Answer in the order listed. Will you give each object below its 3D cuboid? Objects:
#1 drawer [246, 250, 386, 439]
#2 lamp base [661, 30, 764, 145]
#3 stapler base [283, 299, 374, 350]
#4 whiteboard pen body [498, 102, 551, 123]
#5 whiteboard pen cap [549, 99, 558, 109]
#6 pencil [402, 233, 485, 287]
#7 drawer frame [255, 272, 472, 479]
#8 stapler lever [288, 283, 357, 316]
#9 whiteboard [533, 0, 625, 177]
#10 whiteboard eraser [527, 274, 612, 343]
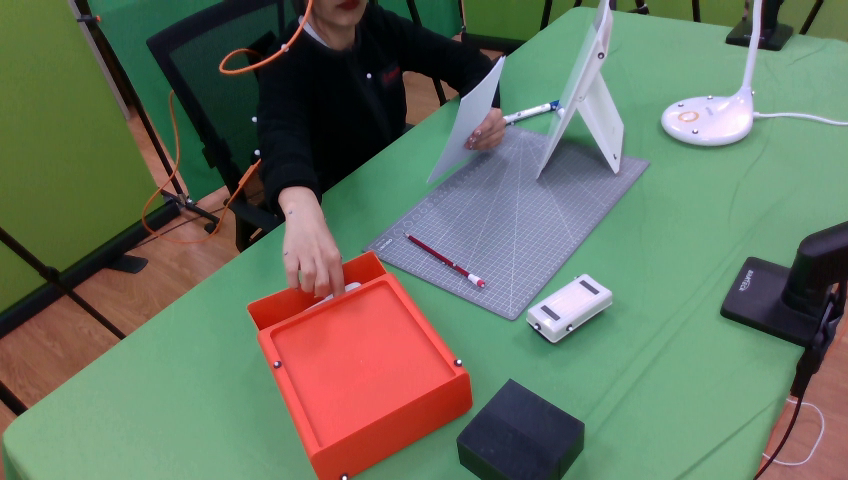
[{"bbox_3d":[-0.108,0.130,0.805,0.195,0.073,0.210,-23,43,-18],"label":"drawer"},{"bbox_3d":[0.535,-0.287,1.096,0.179,0.181,0.159,-10,40,-4],"label":"lamp base"},{"bbox_3d":[-0.136,0.112,0.853,0.131,0.024,0.041,-21,36,-13],"label":"stapler base"},{"bbox_3d":[0.221,-0.268,1.256,0.141,0.017,0.017,-19,41,-12],"label":"whiteboard pen body"},{"bbox_3d":[0.275,-0.286,1.268,0.033,0.018,0.018,-17,41,-13],"label":"whiteboard pen cap"},{"bbox_3d":[0.026,0.028,0.949,0.012,0.012,0.192,-34,44,-26],"label":"pencil"},{"bbox_3d":[-0.079,0.161,0.759,0.202,0.083,0.211,-24,43,-18],"label":"drawer frame"},{"bbox_3d":[-0.140,0.095,0.839,0.118,0.040,0.026,-19,35,-15],"label":"stapler lever"},{"bbox_3d":[0.321,-0.258,1.049,0.144,0.306,0.217,20,45,4],"label":"whiteboard"},{"bbox_3d":[0.198,0.094,0.820,0.113,0.042,0.055,-30,43,-22],"label":"whiteboard eraser"}]
